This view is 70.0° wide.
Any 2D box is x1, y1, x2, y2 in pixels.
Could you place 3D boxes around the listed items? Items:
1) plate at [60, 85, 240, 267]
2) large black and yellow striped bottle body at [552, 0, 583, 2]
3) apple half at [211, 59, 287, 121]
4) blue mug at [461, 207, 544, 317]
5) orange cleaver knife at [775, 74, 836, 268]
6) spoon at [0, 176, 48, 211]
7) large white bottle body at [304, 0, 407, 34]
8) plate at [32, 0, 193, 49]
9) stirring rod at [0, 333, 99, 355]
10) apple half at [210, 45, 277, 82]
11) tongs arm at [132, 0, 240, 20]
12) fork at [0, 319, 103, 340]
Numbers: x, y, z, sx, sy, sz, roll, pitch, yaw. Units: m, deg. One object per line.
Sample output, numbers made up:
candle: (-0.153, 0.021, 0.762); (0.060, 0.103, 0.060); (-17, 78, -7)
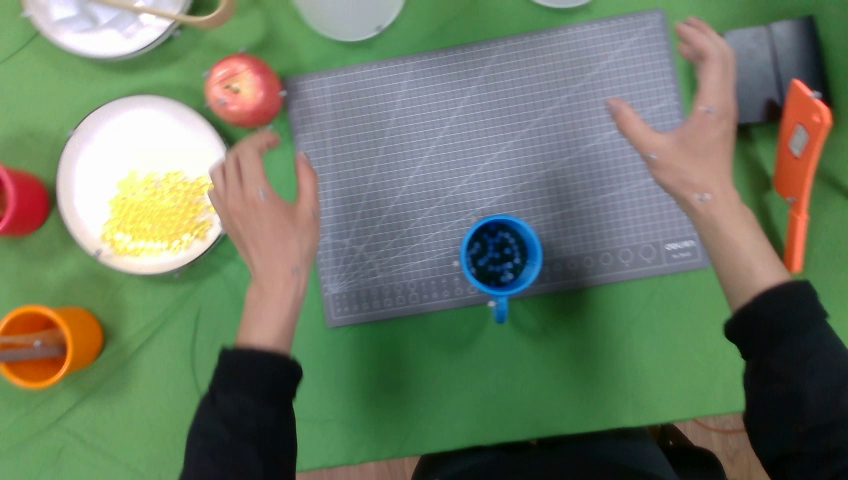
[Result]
plate: (-0.313, -0.073, 0.705); (0.209, 0.038, 0.209); (0, 91, 3)
large black and yellow striped bottle body: (0.160, -0.335, 0.607); (0.131, 0.184, 0.130); (0, 90, 3)
apple half: (-0.189, -0.162, 0.681); (0.081, 0.074, 0.053); (-24, 94, -1)
blue mug: (0.082, 0.025, 0.655); (0.082, 0.106, 0.116); (-1, 91, 3)
orange cleaver knife: (0.401, -0.069, 0.651); (0.012, 0.076, 0.213); (-10, 121, 2)
spoon: (-0.526, -0.053, 0.662); (0.195, 0.021, 0.041); (-2, 89, -41)
large white bottle body: (-0.083, -0.303, 0.618); (0.130, 0.184, 0.130); (0, 90, 3)
plate: (-0.354, -0.323, 0.701); (0.207, 0.039, 0.207); (0, 92, 2)
stirring rod: (-0.454, 0.118, 0.662); (0.177, 0.006, 0.014); (-1, 79, -38)
apple half: (-0.205, -0.198, 0.680); (0.081, 0.081, 0.033); (-24, 95, 3)
tongs arm: (-0.392, -0.309, 0.671); (0.384, 0.026, 0.050); (20, 88, 4)
fork: (-0.466, 0.099, 0.659); (0.209, 0.018, 0.028); (8, 90, -41)
